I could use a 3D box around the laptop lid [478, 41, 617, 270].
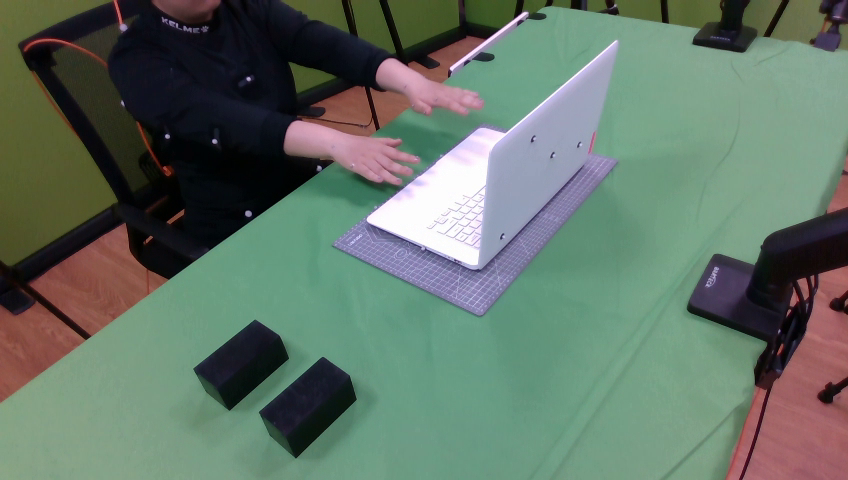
[{"bbox_3d":[0.190,-0.130,0.913,0.013,0.242,0.358,29,50,26],"label":"laptop lid"}]

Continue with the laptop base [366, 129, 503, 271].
[{"bbox_3d":[0.098,-0.086,1.059,0.233,0.023,0.355,21,48,34],"label":"laptop base"}]
